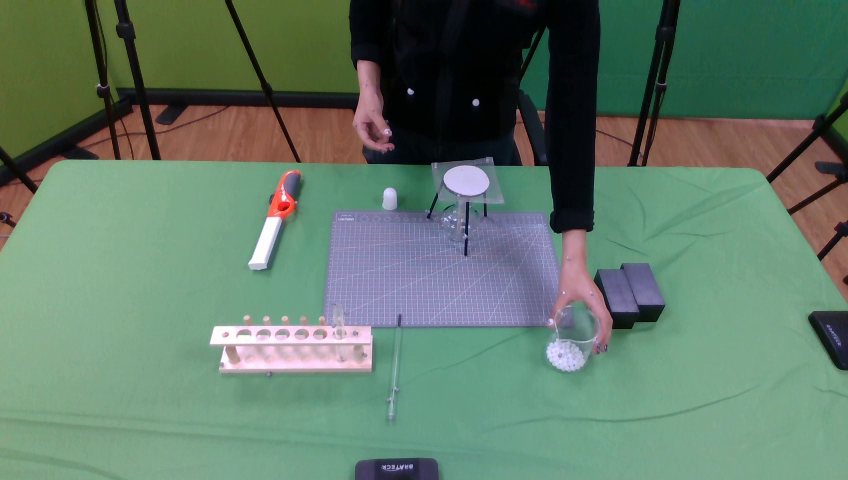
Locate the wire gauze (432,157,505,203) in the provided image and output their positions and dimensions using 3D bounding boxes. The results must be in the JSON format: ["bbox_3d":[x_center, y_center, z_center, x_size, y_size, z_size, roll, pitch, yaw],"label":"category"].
[{"bbox_3d":[0.081,-0.112,1.137,0.125,0.011,0.120,-2,48,-6],"label":"wire gauze"}]

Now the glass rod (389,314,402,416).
[{"bbox_3d":[-0.047,0.203,1.007,0.008,0.008,0.198,4,45,0],"label":"glass rod"}]

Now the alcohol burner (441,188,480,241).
[{"bbox_3d":[0.073,-0.055,1.189,0.078,0.120,0.077,1,47,-1],"label":"alcohol burner"}]

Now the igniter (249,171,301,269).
[{"bbox_3d":[-0.297,-0.049,1.220,0.057,0.025,0.275,-2,45,9],"label":"igniter"}]

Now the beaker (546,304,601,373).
[{"bbox_3d":[0.242,0.167,1.001,0.084,0.101,0.073,-32,55,-28],"label":"beaker"}]

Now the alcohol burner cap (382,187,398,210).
[{"bbox_3d":[-0.072,-0.090,1.266,0.034,0.048,0.033,2,47,-2],"label":"alcohol burner cap"}]

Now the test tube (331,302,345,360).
[{"bbox_3d":[-0.132,0.144,0.938,0.017,0.151,0.017,2,49,-3],"label":"test tube"}]

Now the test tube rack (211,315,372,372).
[{"bbox_3d":[-0.208,0.163,0.982,0.242,0.085,0.066,1,46,-4],"label":"test tube rack"}]

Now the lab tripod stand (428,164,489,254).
[{"bbox_3d":[0.078,-0.068,1.187,0.148,0.132,0.147,3,47,-3],"label":"lab tripod stand"}]
